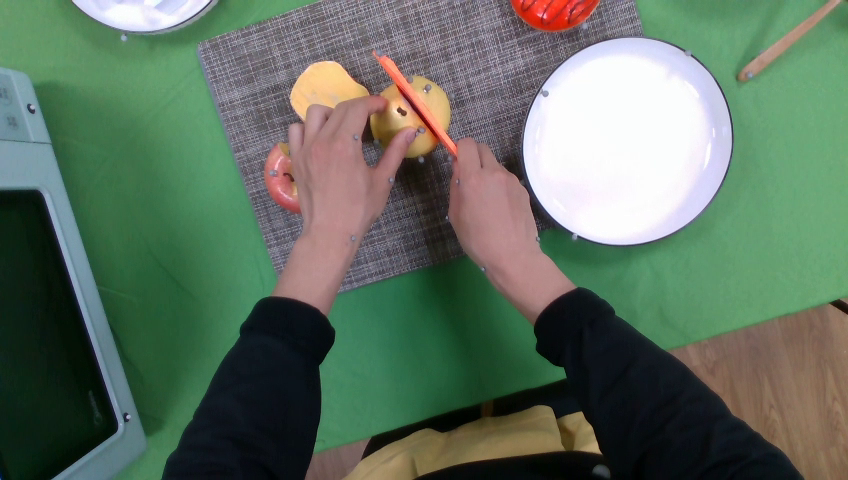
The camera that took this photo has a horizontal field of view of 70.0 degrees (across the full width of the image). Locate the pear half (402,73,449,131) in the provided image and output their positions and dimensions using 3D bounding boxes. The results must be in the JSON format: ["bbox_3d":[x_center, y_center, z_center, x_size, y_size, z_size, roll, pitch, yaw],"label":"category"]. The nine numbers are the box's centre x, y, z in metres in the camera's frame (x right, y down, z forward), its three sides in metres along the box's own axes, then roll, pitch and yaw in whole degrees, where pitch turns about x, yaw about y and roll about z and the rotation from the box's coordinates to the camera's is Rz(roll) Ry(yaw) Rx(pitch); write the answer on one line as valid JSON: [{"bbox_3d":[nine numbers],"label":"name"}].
[{"bbox_3d":[0.004,-0.142,0.602,0.070,0.088,0.031,44,89,3],"label":"pear half"}]

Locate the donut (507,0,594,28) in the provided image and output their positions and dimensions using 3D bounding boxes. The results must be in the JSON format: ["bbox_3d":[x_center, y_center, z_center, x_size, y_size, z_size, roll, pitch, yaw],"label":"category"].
[{"bbox_3d":[0.126,-0.262,0.601,0.099,0.048,0.099,1,98,6],"label":"donut"}]

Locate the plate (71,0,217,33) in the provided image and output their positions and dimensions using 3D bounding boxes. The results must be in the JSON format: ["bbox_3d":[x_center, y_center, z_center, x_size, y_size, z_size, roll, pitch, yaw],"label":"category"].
[{"bbox_3d":[-0.286,-0.318,0.625,0.207,0.039,0.208,0,97,3],"label":"plate"}]

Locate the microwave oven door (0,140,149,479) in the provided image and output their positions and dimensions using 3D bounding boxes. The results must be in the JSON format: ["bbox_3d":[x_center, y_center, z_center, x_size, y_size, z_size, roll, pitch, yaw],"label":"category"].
[{"bbox_3d":[-0.382,0.081,0.559,0.039,0.243,0.356,-15,95,5],"label":"microwave oven door"}]

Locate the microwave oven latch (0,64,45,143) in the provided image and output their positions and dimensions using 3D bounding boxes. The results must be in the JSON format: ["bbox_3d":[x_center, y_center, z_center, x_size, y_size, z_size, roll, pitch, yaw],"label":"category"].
[{"bbox_3d":[-0.430,-0.142,0.636,0.030,0.029,0.079,-14,97,4],"label":"microwave oven latch"}]

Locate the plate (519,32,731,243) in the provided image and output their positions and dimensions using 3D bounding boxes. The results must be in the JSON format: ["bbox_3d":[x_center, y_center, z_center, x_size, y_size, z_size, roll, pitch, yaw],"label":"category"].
[{"bbox_3d":[0.201,-0.102,0.619,0.209,0.038,0.209,0,97,3],"label":"plate"}]

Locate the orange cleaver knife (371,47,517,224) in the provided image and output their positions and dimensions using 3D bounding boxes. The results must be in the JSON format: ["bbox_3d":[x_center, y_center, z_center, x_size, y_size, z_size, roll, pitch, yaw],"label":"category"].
[{"bbox_3d":[0.019,-0.101,0.588,0.012,0.076,0.212,-39,107,5],"label":"orange cleaver knife"}]

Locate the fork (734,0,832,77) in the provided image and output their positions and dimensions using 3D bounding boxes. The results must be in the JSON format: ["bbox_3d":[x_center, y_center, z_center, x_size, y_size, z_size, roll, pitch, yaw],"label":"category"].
[{"bbox_3d":[0.385,-0.232,0.571,0.028,0.018,0.207,40,118,-9],"label":"fork"}]

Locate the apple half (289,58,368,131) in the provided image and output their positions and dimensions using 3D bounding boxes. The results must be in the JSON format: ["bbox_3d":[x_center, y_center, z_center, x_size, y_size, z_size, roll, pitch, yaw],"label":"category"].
[{"bbox_3d":[-0.101,-0.144,0.630,0.081,0.033,0.081,2,75,-9],"label":"apple half"}]

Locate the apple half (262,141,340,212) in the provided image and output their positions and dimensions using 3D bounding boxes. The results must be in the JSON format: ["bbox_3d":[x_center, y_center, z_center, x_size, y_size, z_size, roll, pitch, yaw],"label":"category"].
[{"bbox_3d":[-0.132,-0.058,0.626,0.081,0.074,0.053,37,102,-5],"label":"apple half"}]

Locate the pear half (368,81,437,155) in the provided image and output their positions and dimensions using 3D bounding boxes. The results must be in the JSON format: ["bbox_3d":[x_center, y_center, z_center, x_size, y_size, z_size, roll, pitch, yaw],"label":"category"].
[{"bbox_3d":[-0.028,-0.115,0.595,0.056,0.110,0.076,-43,86,9],"label":"pear half"}]

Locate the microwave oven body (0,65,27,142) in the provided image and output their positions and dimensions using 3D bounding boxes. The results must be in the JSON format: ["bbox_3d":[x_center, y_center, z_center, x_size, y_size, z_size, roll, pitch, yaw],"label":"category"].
[{"bbox_3d":[-0.533,0.076,0.573,0.326,0.259,0.442,-15,96,5],"label":"microwave oven body"}]
